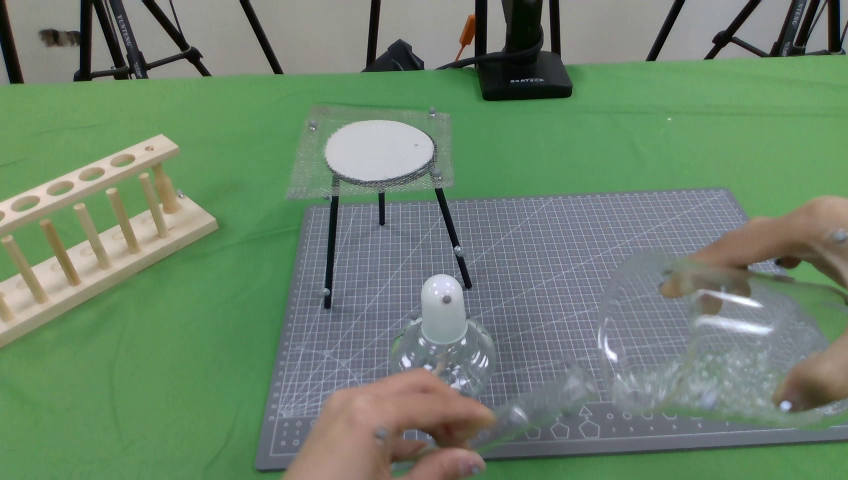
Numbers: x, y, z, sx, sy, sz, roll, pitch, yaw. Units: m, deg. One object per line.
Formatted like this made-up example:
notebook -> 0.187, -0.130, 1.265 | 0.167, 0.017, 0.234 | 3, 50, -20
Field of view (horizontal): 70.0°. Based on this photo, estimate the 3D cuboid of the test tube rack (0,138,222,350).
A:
test tube rack -> -0.315, 0.003, 0.544 | 0.066, 0.086, 0.242 | 32, 51, 33

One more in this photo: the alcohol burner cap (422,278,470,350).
alcohol burner cap -> 0.014, 0.046, 0.402 | 0.034, 0.048, 0.033 | -3, 40, 3

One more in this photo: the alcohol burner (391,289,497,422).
alcohol burner -> 0.014, 0.073, 0.425 | 0.078, 0.120, 0.077 | -1, 42, 1

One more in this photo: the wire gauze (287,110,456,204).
wire gauze -> -0.037, -0.069, 0.474 | 0.121, 0.011, 0.124 | 0, 41, 0

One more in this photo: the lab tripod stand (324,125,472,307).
lab tripod stand -> -0.027, -0.020, 0.519 | 0.148, 0.132, 0.147 | 0, 40, 0

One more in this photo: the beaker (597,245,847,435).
beaker -> 0.142, 0.052, 0.281 | 0.100, 0.084, 0.073 | 10, 39, -12

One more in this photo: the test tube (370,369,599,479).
test tube -> 0.024, 0.106, 0.316 | 0.150, 0.017, 0.017 | -36, 31, 27
